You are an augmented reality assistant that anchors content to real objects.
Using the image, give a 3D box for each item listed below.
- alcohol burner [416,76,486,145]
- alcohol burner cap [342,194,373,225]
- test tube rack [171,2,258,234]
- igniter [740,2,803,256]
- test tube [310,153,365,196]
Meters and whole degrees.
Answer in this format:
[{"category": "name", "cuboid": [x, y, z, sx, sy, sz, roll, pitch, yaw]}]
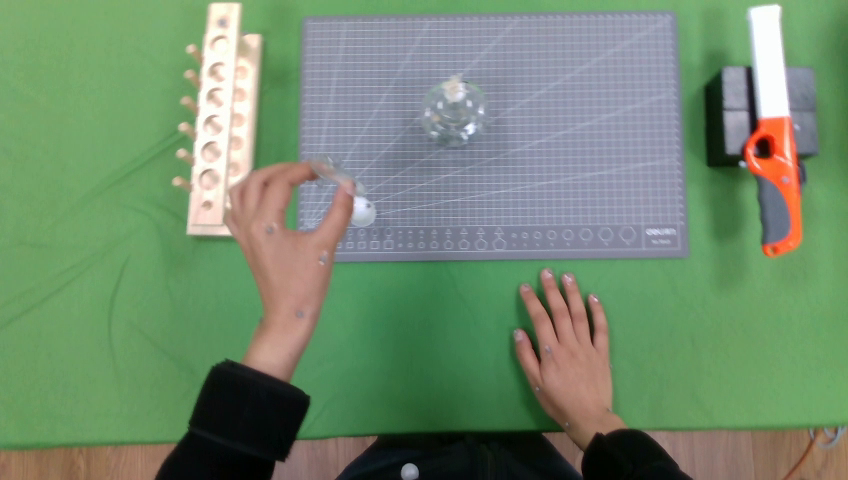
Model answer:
[{"category": "alcohol burner", "cuboid": [0.029, -0.147, 0.660, 0.078, 0.119, 0.077, 0, 84, 2]}, {"category": "alcohol burner cap", "cuboid": [-0.077, -0.037, 0.684, 0.034, 0.048, 0.034, 0, 83, 1]}, {"category": "test tube rack", "cuboid": [-0.239, -0.132, 0.681, 0.067, 0.085, 0.241, 1, 83, 2]}, {"category": "igniter", "cuboid": [0.368, -0.121, 0.649, 0.057, 0.025, 0.275, -3, 82, 13]}, {"category": "test tube", "cuboid": [-0.070, -0.053, 0.512, 0.017, 0.150, 0.017, 0, 87, 5]}]
